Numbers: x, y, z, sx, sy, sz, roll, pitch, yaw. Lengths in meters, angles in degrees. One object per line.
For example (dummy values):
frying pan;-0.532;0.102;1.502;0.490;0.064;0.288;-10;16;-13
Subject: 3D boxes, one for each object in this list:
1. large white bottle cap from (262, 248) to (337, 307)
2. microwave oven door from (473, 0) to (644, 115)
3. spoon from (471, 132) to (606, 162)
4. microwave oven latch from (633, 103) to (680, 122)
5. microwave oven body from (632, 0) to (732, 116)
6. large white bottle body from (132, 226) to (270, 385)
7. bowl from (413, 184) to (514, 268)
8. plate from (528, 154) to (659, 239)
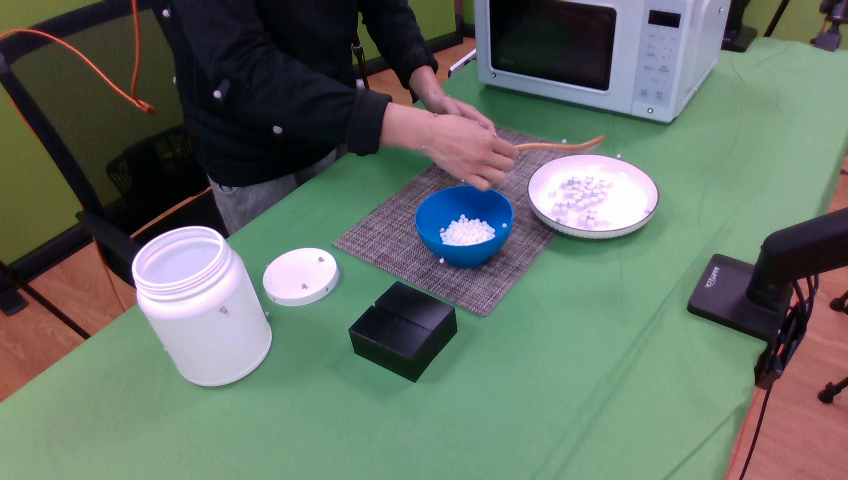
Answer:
large white bottle cap;-0.193;0.056;0.933;0.115;0.018;0.114;-5;41;5
microwave oven door;0.257;-0.396;1.199;0.353;0.245;0.039;21;48;29
spoon;0.164;-0.133;0.870;0.193;0.021;0.041;-6;7;7
microwave oven latch;0.443;-0.249;1.157;0.078;0.029;0.030;21;49;30
microwave oven body;0.377;-0.463;1.267;0.438;0.261;0.327;21;49;30
large white bottle body;-0.286;0.084;0.783;0.130;0.185;0.130;-4;41;4
bowl;0.063;-0.010;0.922;0.151;0.077;0.150;-4;40;4
plate;0.274;-0.069;0.993;0.209;0.038;0.208;-2;42;2
